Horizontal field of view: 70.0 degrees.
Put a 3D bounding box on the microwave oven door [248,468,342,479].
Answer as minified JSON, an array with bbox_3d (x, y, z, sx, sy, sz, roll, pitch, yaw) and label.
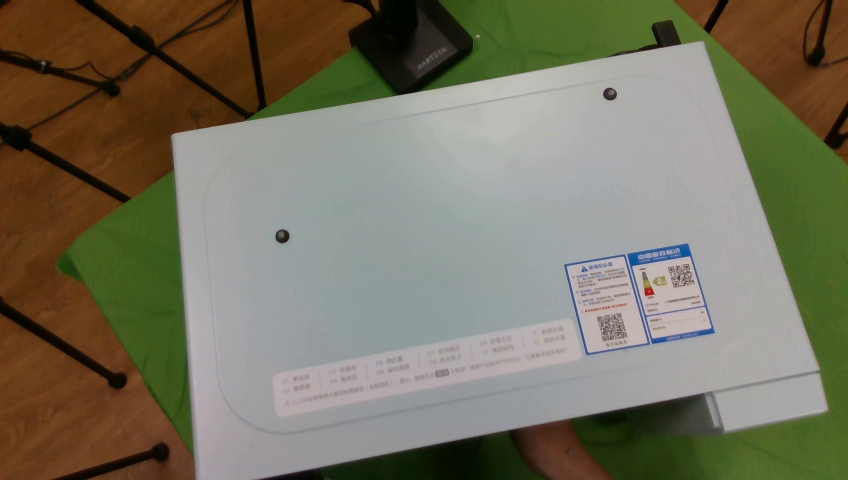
[{"bbox_3d":[0.010,0.281,0.488,0.355,0.245,0.039,26,77,9],"label":"microwave oven door"}]

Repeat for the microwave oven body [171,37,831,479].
[{"bbox_3d":[0.043,0.037,0.565,0.442,0.261,0.324,-11,74,-1],"label":"microwave oven body"}]

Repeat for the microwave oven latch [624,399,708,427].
[{"bbox_3d":[0.247,0.172,0.622,0.079,0.029,0.030,-9,74,-1],"label":"microwave oven latch"}]
